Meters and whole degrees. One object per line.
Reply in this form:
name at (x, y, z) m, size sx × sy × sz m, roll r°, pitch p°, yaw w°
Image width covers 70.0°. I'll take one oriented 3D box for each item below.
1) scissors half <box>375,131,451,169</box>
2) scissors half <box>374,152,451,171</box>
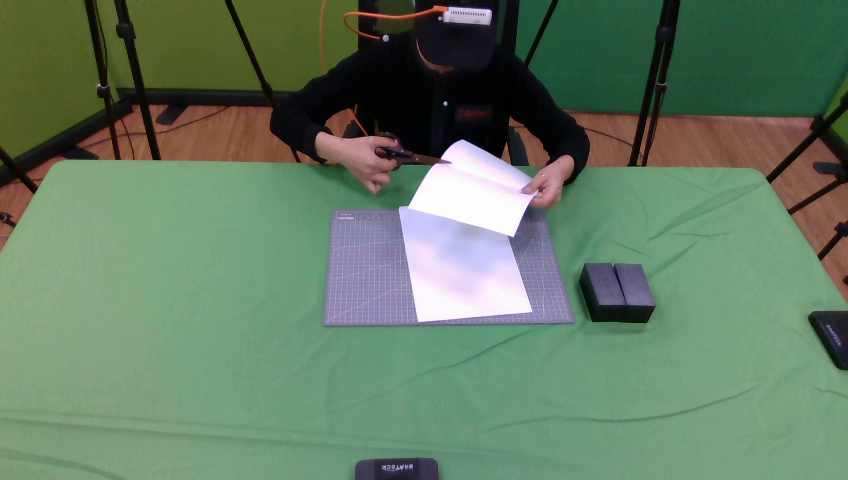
scissors half at (-0.023, -0.182, 1.242) m, size 0.175 × 0.040 × 0.013 m, roll 27°, pitch 39°, yaw 10°
scissors half at (-0.024, -0.162, 1.253) m, size 0.175 × 0.040 × 0.013 m, roll 3°, pitch 26°, yaw 25°
